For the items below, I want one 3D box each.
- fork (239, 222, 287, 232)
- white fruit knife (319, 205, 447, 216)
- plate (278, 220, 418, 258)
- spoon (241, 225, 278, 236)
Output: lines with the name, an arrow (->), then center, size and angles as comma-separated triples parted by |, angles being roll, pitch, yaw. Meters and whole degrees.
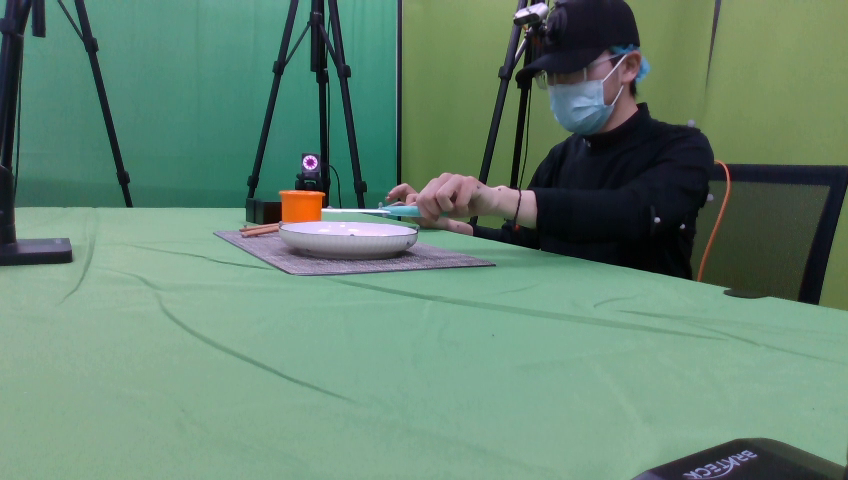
fork -> -0.240, -0.025, 1.125 | 0.208, 0.018, 0.028 | -1, 14, -35
white fruit knife -> -0.056, -0.044, 0.875 | 0.208, 0.016, 0.027 | 0, 12, -36
plate -> -0.114, -0.002, 0.914 | 0.209, 0.038, 0.209 | 2, 7, 0
spoon -> -0.232, -0.021, 1.082 | 0.195, 0.021, 0.041 | -3, 27, -37
